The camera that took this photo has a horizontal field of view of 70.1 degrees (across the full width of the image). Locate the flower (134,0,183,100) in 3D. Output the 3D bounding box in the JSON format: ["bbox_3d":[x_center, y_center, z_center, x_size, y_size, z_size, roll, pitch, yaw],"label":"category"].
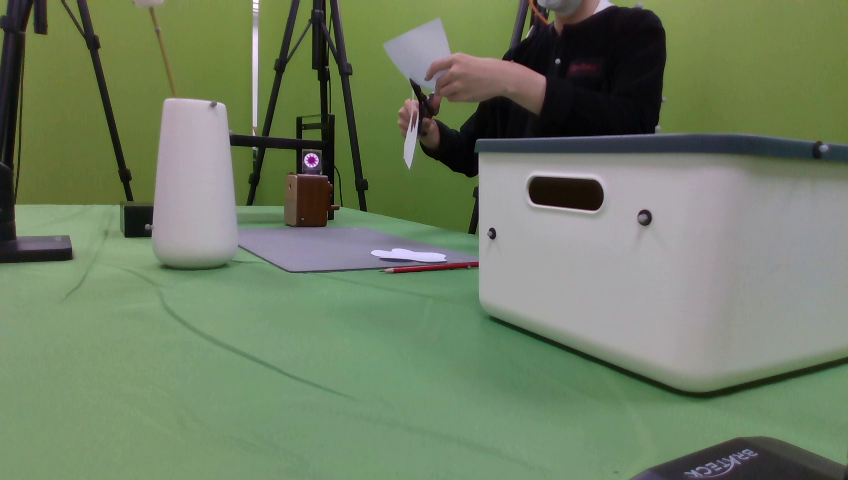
[{"bbox_3d":[-0.282,-0.147,0.713,0.038,0.362,0.044,-23,24,-31],"label":"flower"}]

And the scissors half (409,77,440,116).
[{"bbox_3d":[0.001,-0.264,1.099,0.013,0.040,0.176,16,1,18],"label":"scissors half"}]

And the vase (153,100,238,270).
[{"bbox_3d":[-0.278,-0.066,0.736,0.098,0.200,0.098,2,9,0],"label":"vase"}]

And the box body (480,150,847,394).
[{"bbox_3d":[0.254,0.002,0.539,0.366,0.160,0.253,-2,8,-31],"label":"box body"}]

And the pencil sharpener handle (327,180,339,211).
[{"bbox_3d":[-0.194,-0.095,1.256,0.031,0.067,0.036,-2,-5,-36],"label":"pencil sharpener handle"}]

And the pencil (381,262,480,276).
[{"bbox_3d":[0.030,0.037,0.794,0.195,0.012,0.012,-4,10,-31],"label":"pencil"}]

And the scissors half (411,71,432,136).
[{"bbox_3d":[-0.008,-0.245,1.095,0.012,0.040,0.175,22,-23,19],"label":"scissors half"}]

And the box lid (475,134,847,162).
[{"bbox_3d":[0.256,-0.073,0.528,0.373,0.015,0.262,-2,8,-31],"label":"box lid"}]

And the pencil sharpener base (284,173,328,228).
[{"bbox_3d":[-0.239,-0.081,1.231,0.077,0.107,0.061,-2,8,-36],"label":"pencil sharpener base"}]
